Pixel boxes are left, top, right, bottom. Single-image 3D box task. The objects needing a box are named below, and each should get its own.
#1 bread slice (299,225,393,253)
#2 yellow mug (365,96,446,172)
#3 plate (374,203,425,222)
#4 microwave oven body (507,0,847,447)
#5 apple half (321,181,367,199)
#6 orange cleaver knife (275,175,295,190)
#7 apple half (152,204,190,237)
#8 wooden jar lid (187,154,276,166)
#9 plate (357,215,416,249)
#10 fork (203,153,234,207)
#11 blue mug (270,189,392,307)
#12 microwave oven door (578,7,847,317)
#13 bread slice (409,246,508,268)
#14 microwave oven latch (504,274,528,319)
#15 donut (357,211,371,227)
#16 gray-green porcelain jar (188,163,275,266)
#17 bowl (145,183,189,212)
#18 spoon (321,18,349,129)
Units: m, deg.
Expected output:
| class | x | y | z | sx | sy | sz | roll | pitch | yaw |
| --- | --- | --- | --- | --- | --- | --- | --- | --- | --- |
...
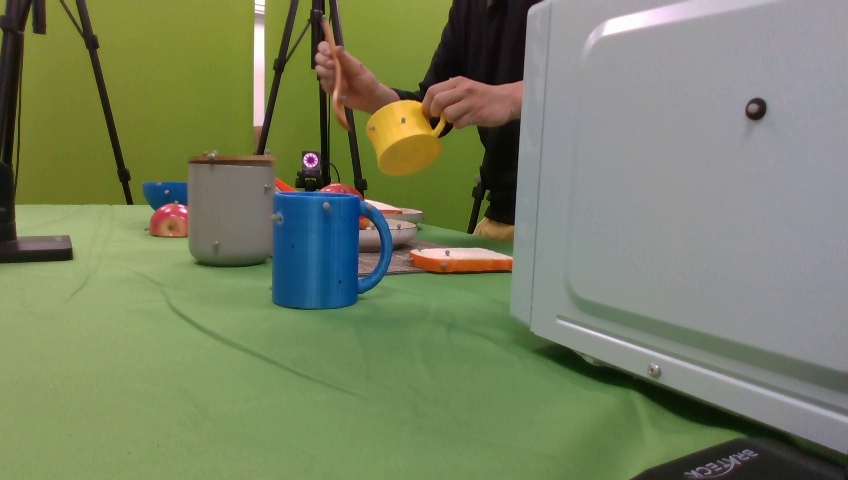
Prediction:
| class | x | y | z | sx | sy | sz | roll | pitch | yaw |
| --- | --- | --- | --- | --- | --- | --- | --- | --- | --- |
| bread slice | -0.117 | -0.003 | 0.969 | 0.106 | 0.018 | 0.135 | 3 | 14 | 40 |
| yellow mug | -0.020 | -0.165 | 0.899 | 0.130 | 0.064 | 0.100 | -33 | -26 | 27 |
| plate | -0.102 | -0.053 | 1.299 | 0.209 | 0.038 | 0.209 | 2 | 8 | 0 |
| microwave oven body | 0.331 | -0.042 | 0.425 | 0.444 | 0.260 | 0.324 | -2 | 8 | -31 |
| apple half | -0.129 | -0.077 | 0.952 | 0.081 | 0.033 | 0.081 | 1 | 15 | 0 |
| orange cleaver knife | -0.283 | -0.086 | 1.343 | 0.212 | 0.077 | 0.012 | 24 | -16 | -41 |
| apple half | -0.415 | -0.034 | 1.017 | 0.081 | 0.053 | 0.074 | 1 | 10 | -9 |
| wooden jar lid | -0.244 | -0.097 | 0.771 | 0.108 | 0.020 | 0.108 | -1 | 7 | 0 |
| plate | -0.116 | -0.014 | 0.967 | 0.208 | 0.039 | 0.207 | 2 | 7 | 0 |
| fork | -0.480 | -0.135 | 1.411 | 0.028 | 0.018 | 0.207 | 1 | -34 | 0 |
| blue mug | -0.090 | 0.005 | 0.588 | 0.117 | 0.106 | 0.082 | 0 | 7 | -11 |
| microwave oven door | 0.294 | -0.067 | 0.570 | 0.358 | 0.243 | 0.039 | -3 | 9 | -31 |
| bread slice | 0.048 | 0.022 | 0.816 | 0.132 | 0.019 | 0.104 | 0 | 6 | -24 |
| microwave oven latch | 0.100 | 0.041 | 0.471 | 0.079 | 0.029 | 0.030 | -1 | 7 | -28 |
| donut | -0.132 | -0.041 | 0.959 | 0.099 | 0.048 | 0.099 | 3 | 7 | 0 |
| gray-green porcelain jar | -0.246 | -0.034 | 0.779 | 0.106 | 0.126 | 0.106 | 1 | 7 | 0 |
| bowl | -0.459 | -0.068 | 1.175 | 0.151 | 0.077 | 0.151 | 2 | 7 | 0 |
| spoon | -0.139 | -0.261 | 0.941 | 0.021 | 0.193 | 0.042 | -11 | -14 | 11 |
